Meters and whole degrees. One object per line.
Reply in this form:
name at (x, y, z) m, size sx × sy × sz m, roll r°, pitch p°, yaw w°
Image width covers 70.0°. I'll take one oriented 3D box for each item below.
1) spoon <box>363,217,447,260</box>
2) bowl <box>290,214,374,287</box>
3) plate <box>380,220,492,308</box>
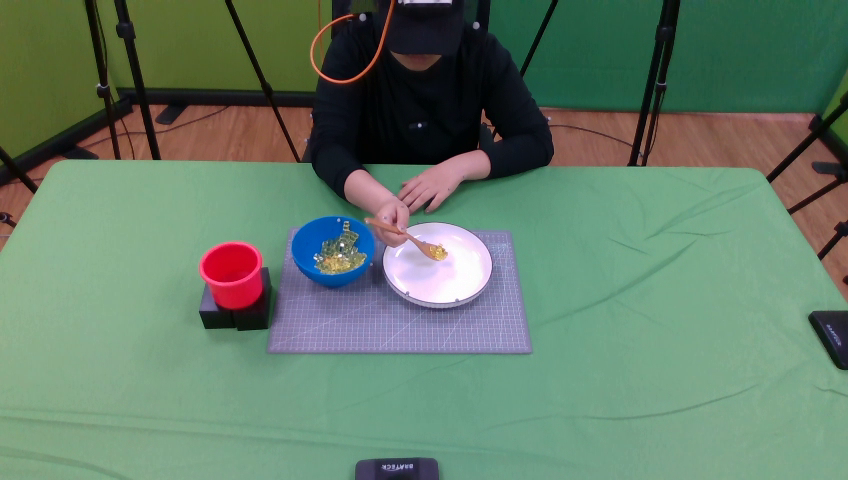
spoon at (-0.031, -0.006, 1.085) m, size 0.195 × 0.021 × 0.041 m, roll 29°, pitch 35°, yaw -38°
bowl at (-0.166, 0.032, 1.111) m, size 0.151 × 0.077 × 0.150 m, roll 2°, pitch 46°, yaw -2°
plate at (0.022, 0.048, 1.137) m, size 0.208 × 0.039 × 0.206 m, roll 2°, pitch 46°, yaw -2°
